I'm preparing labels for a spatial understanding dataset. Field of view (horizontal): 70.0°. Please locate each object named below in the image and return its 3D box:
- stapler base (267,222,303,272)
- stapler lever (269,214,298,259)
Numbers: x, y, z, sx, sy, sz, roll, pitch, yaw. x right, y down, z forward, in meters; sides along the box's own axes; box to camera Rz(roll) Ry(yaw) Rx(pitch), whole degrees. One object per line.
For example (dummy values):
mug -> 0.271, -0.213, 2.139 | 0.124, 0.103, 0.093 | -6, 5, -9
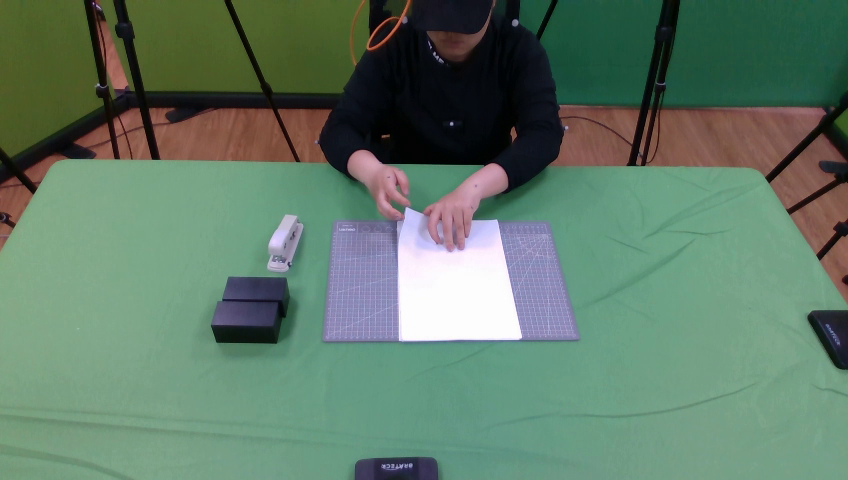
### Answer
stapler base -> -0.269, 0.005, 1.170 | 0.041, 0.024, 0.130 | 8, 44, 0
stapler lever -> -0.268, -0.014, 1.154 | 0.027, 0.040, 0.117 | 8, 44, 0
